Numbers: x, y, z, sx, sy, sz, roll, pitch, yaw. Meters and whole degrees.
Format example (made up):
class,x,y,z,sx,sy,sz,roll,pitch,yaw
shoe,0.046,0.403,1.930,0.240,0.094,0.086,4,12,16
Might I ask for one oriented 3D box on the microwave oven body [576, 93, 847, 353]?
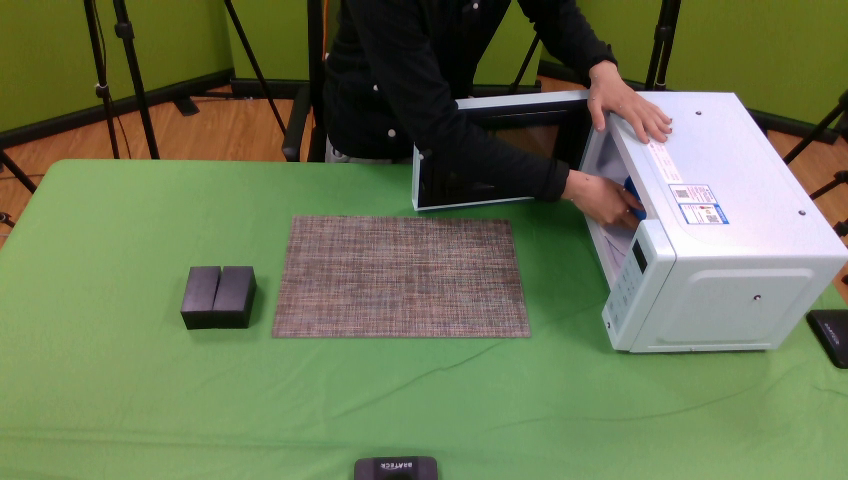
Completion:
class,x,y,z,sx,sy,sz,roll,pitch,yaw
microwave oven body,0.475,-0.042,1.109,0.326,0.261,0.438,-1,45,-4

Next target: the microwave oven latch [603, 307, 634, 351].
class,x,y,z,sx,sy,sz,roll,pitch,yaw
microwave oven latch,0.332,0.153,1.044,0.030,0.029,0.078,0,45,-3

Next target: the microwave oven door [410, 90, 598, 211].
class,x,y,z,sx,sy,sz,roll,pitch,yaw
microwave oven door,0.152,-0.176,1.208,0.356,0.245,0.039,-7,47,-11
